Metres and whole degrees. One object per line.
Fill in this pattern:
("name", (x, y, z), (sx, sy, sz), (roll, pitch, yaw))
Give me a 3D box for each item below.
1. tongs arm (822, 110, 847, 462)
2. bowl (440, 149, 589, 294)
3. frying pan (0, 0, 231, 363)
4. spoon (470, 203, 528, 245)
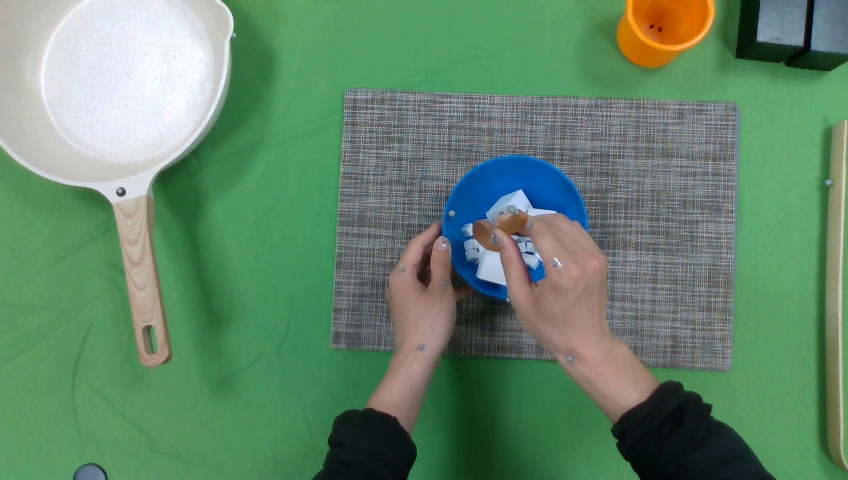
("tongs arm", (0.457, 0.050, 0.665), (0.028, 0.028, 0.387), (2, 88, 1))
("bowl", (0.094, -0.017, 0.653), (0.151, 0.077, 0.151), (0, 87, 3))
("frying pan", (-0.332, -0.104, 0.668), (0.307, 0.103, 0.485), (-14, 78, 3))
("spoon", (0.067, -0.013, 0.540), (0.041, 0.193, 0.021), (44, 88, 0))
